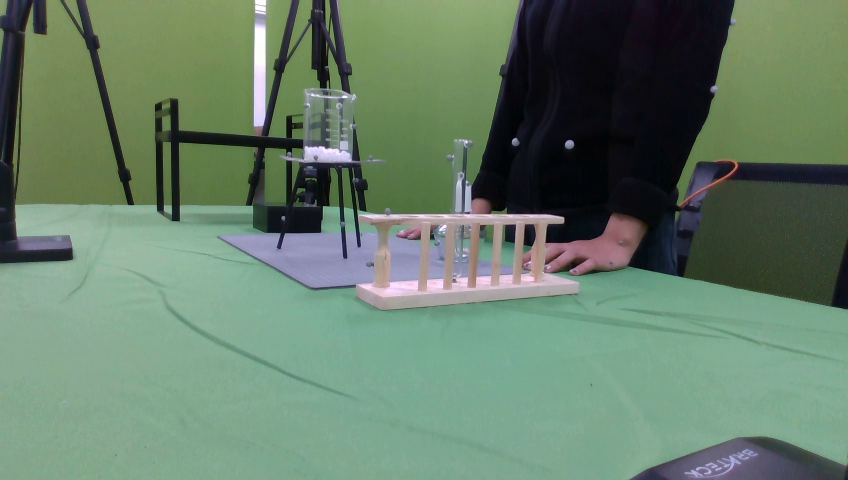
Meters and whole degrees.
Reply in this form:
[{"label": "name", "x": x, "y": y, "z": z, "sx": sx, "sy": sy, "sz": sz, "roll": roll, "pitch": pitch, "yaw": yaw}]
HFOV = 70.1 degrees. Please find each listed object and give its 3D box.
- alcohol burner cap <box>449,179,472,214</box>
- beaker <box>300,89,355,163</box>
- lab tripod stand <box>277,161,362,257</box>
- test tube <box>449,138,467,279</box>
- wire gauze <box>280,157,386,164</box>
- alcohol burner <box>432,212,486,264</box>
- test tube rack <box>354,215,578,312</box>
[{"label": "alcohol burner cap", "x": 0.052, "y": -0.063, "z": 0.858, "sx": 0.034, "sy": 0.048, "sz": 0.034, "roll": 2, "pitch": 13, "yaw": 0}, {"label": "beaker", "x": -0.136, "y": -0.161, "z": 0.867, "sx": 0.083, "sy": 0.100, "sz": 0.074, "roll": 5, "pitch": 8, "yaw": 24}, {"label": "lab tripod stand", "x": -0.142, "y": -0.049, "z": 0.884, "sx": 0.148, "sy": 0.131, "sz": 0.148, "roll": 1, "pitch": 9, "yaw": 0}, {"label": "test tube", "x": 0.035, "y": -0.033, "z": 0.645, "sx": 0.017, "sy": 0.150, "sz": 0.017, "roll": 3, "pitch": 4, "yaw": 0}, {"label": "wire gauze", "x": -0.134, "y": -0.113, "z": 0.875, "sx": 0.122, "sy": 0.011, "sz": 0.124, "roll": -1, "pitch": 6, "yaw": -30}, {"label": "alcohol burner", "x": 0.051, "y": -0.027, "z": 0.863, "sx": 0.078, "sy": 0.119, "sz": 0.078, "roll": 1, "pitch": 6, "yaw": 0}, {"label": "test tube rack", "x": 0.053, "y": 0.019, "z": 0.641, "sx": 0.243, "sy": 0.085, "sz": 0.066, "roll": -1, "pitch": 8, "yaw": -29}]
